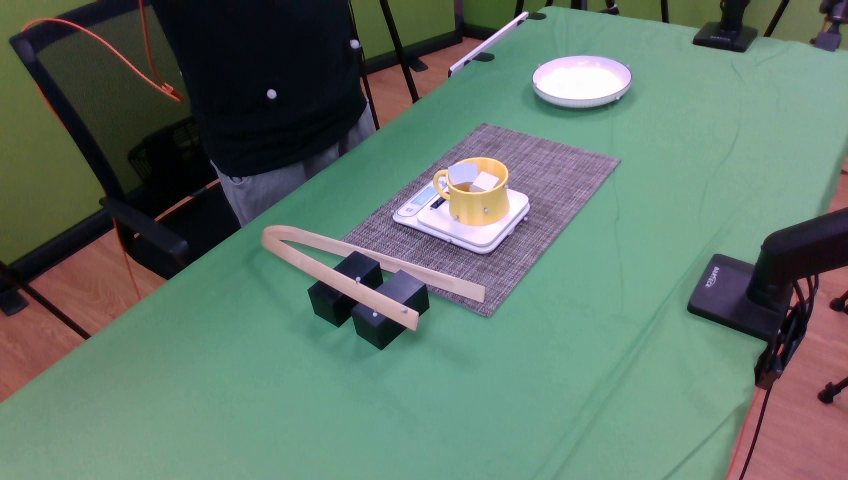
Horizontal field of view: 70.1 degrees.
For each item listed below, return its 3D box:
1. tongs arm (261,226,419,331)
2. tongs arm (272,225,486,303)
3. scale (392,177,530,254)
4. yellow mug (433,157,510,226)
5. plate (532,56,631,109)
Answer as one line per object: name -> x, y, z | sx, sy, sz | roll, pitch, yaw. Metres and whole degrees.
tongs arm -> -0.132, 0.044, 0.867 | 0.381, 0.026, 0.051 | 21, 24, 39
tongs arm -> -0.081, 0.031, 0.930 | 0.385, 0.028, 0.028 | 16, 24, 26
scale -> 0.060, -0.050, 1.006 | 0.199, 0.032, 0.149 | 22, 48, 30
yellow mug -> 0.072, -0.082, 0.968 | 0.130, 0.064, 0.100 | 13, 45, 24
plate -> 0.336, -0.335, 1.301 | 0.207, 0.039, 0.206 | -4, 41, 4
